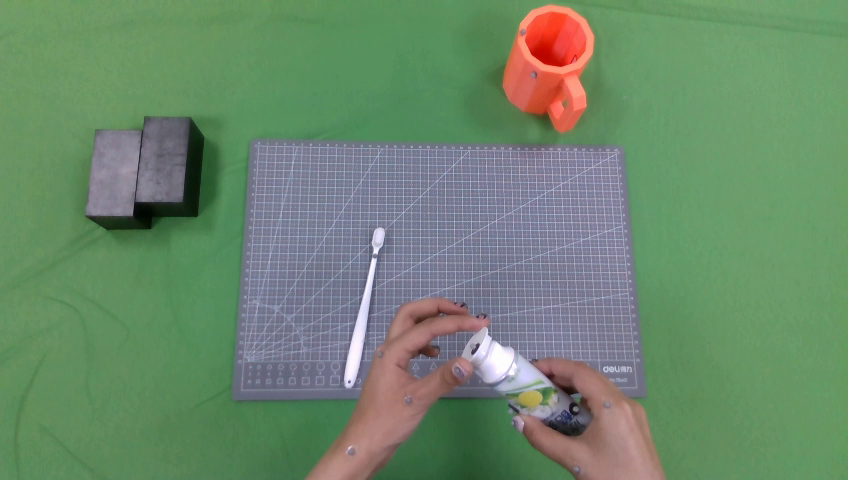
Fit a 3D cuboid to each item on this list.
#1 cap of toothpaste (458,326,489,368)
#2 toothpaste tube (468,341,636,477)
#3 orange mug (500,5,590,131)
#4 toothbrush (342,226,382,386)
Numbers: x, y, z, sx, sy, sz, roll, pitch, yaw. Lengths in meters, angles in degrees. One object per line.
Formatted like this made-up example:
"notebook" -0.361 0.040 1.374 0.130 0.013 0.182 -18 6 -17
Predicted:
"cap of toothpaste" 0.040 0.085 0.474 0.011 0.037 0.037 33 75 -5
"toothpaste tube" 0.099 0.138 0.495 0.166 0.034 0.055 40 114 -14
"orange mug" 0.147 -0.196 0.713 0.083 0.101 0.125 -21 73 -8
"toothbrush" -0.068 0.070 0.670 0.014 0.016 0.181 13 76 -14
